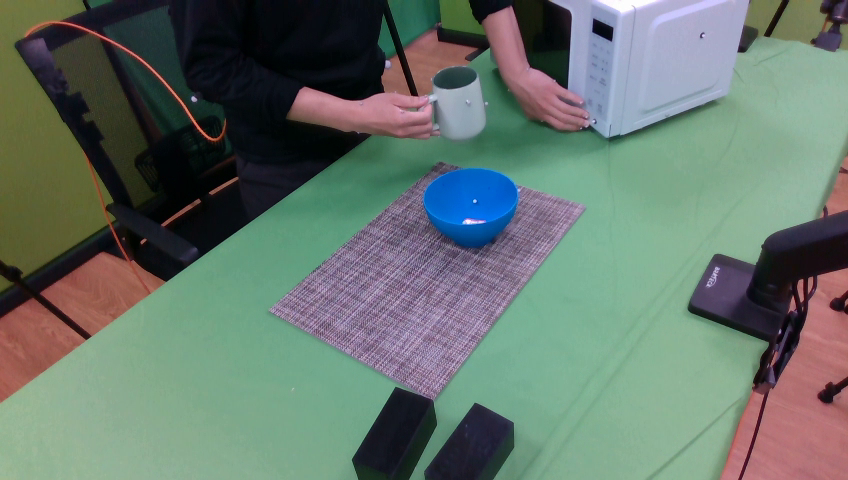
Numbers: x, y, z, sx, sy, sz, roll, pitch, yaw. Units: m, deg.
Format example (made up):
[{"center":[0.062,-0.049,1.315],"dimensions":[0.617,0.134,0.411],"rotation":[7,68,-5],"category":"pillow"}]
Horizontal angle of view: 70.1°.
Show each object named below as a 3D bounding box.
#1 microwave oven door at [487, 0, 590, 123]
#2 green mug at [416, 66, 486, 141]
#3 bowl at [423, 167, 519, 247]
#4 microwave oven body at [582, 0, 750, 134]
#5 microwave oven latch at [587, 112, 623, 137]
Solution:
[{"center":[0.232,-0.420,1.231],"dimensions":[0.039,0.245,0.352],"rotation":[-22,42,-16],"category":"microwave oven door"},{"center":[0.044,-0.227,1.042],"dimensions":[0.126,0.105,0.091],"rotation":[-27,46,-15],"category":"green mug"},{"center":[0.076,-0.042,0.959],"dimensions":[0.151,0.077,0.150],"rotation":[-3,41,3],"category":"bowl"},{"center":[0.382,-0.445,1.246],"dimensions":[0.327,0.261,0.437],"rotation":[-22,42,-16],"category":"microwave oven body"},{"center":[0.340,-0.223,1.142],"dimensions":[0.030,0.029,0.078],"rotation":[-17,41,-10],"category":"microwave oven latch"}]
